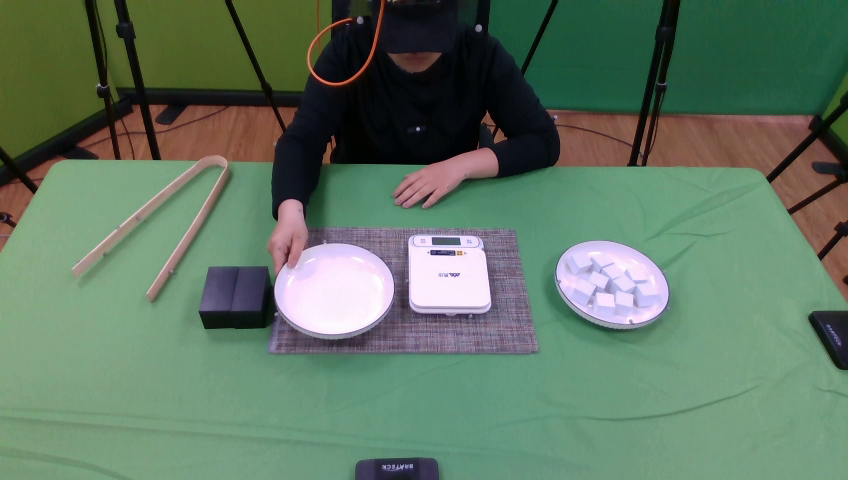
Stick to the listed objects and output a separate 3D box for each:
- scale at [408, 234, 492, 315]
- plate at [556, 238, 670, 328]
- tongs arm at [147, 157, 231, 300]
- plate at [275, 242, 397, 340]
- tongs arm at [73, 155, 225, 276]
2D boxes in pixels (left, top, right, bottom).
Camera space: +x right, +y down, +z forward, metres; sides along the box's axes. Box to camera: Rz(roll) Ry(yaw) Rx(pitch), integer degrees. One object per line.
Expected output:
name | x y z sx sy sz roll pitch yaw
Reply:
scale | 0.045 0.055 1.135 0.149 0.032 0.199 1 46 -3
plate | 0.348 0.083 1.130 0.209 0.038 0.208 2 47 -2
tongs arm | -0.453 -0.036 1.193 0.028 0.028 0.385 6 46 6
plate | -0.152 0.091 1.056 0.208 0.039 0.206 3 46 -3
tongs arm | -0.531 -0.058 1.205 0.050 0.026 0.383 18 47 13
